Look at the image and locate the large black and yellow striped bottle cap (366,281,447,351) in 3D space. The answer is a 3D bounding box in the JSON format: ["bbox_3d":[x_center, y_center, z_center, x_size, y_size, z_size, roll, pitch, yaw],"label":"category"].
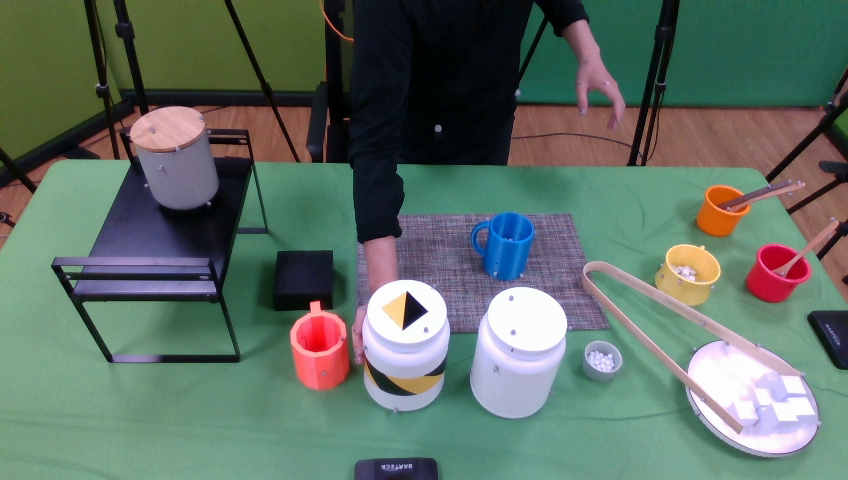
[{"bbox_3d":[-0.025,0.106,0.866,0.115,0.019,0.114,2,46,-1],"label":"large black and yellow striped bottle cap"}]

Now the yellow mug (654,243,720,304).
[{"bbox_3d":[0.504,0.054,1.154,0.099,0.064,0.130,28,50,22],"label":"yellow mug"}]

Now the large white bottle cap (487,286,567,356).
[{"bbox_3d":[0.147,0.114,0.869,0.115,0.018,0.114,3,46,-3],"label":"large white bottle cap"}]

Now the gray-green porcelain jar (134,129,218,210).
[{"bbox_3d":[-0.388,-0.120,0.960,0.106,0.127,0.105,2,46,-2],"label":"gray-green porcelain jar"}]

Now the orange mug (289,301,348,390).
[{"bbox_3d":[-0.170,0.162,0.976,0.083,0.101,0.125,-7,52,-11],"label":"orange mug"}]

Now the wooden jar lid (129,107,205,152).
[{"bbox_3d":[-0.385,-0.163,0.915,0.108,0.021,0.107,2,47,-2],"label":"wooden jar lid"}]

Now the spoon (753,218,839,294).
[{"bbox_3d":[0.700,0.031,1.138,0.194,0.022,0.041,-47,55,14],"label":"spoon"}]

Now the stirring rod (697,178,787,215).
[{"bbox_3d":[0.650,-0.088,1.245,0.006,0.176,0.014,29,50,-39],"label":"stirring rod"}]

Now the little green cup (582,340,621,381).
[{"bbox_3d":[0.295,0.203,1.015,0.061,0.039,0.061,2,45,-2],"label":"little green cup"}]

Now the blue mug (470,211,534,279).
[{"bbox_3d":[0.141,0.005,1.140,0.116,0.106,0.082,18,48,13],"label":"blue mug"}]

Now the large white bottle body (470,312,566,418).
[{"bbox_3d":[0.143,0.173,0.930,0.131,0.185,0.130,2,46,-2],"label":"large white bottle body"}]

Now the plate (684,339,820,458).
[{"bbox_3d":[0.523,0.256,0.982,0.208,0.039,0.206,2,46,-2],"label":"plate"}]

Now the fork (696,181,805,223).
[{"bbox_3d":[0.659,-0.077,1.232,0.207,0.019,0.028,-26,35,34],"label":"fork"}]

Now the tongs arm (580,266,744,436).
[{"bbox_3d":[0.384,0.174,1.029,0.028,0.028,0.385,-26,46,-14],"label":"tongs arm"}]

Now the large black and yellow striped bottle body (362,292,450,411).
[{"bbox_3d":[-0.029,0.163,0.928,0.131,0.185,0.130,2,46,-2],"label":"large black and yellow striped bottle body"}]

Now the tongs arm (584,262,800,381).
[{"bbox_3d":[0.452,0.137,1.064,0.051,0.027,0.382,-34,50,-26],"label":"tongs arm"}]
